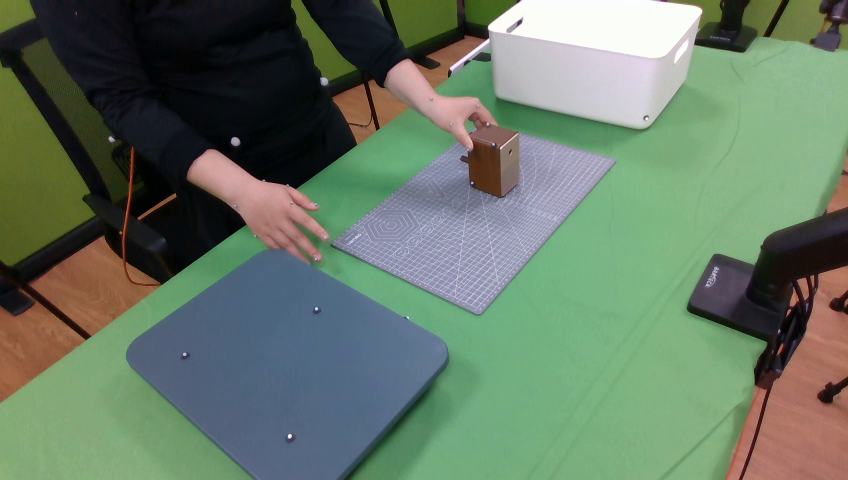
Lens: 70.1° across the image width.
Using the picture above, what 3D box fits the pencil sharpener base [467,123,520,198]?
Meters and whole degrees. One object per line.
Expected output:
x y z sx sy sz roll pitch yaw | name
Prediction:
0.119 -0.138 1.044 0.076 0.107 0.061 23 49 32 | pencil sharpener base

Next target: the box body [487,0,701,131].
0.345 -0.379 1.257 0.361 0.161 0.255 20 48 29 | box body

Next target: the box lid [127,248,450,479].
-0.177 0.145 0.768 0.368 0.015 0.264 24 50 32 | box lid

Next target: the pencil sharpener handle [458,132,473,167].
0.075 -0.162 1.060 0.030 0.068 0.036 23 34 32 | pencil sharpener handle
